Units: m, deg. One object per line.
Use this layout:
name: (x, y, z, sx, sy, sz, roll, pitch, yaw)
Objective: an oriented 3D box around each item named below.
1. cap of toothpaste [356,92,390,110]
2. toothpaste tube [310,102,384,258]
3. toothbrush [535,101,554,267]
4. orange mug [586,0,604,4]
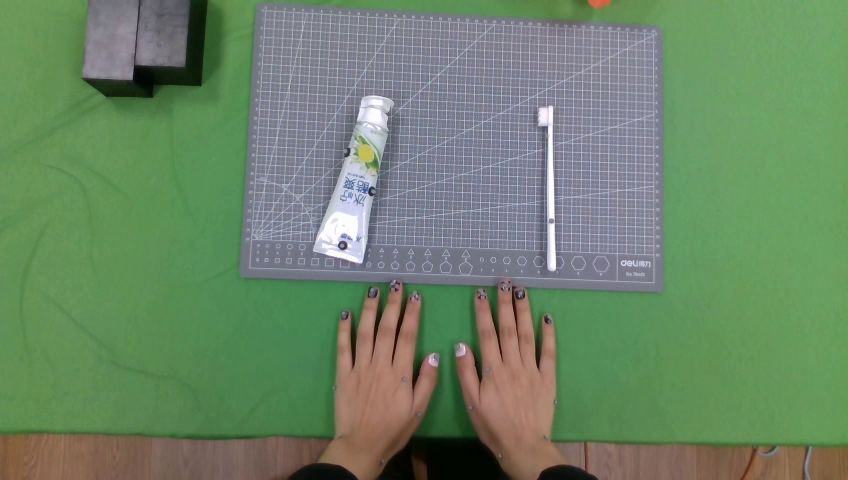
cap of toothpaste: (-0.054, -0.145, 0.638, 0.037, 0.037, 0.011, 3, 82, -3)
toothpaste tube: (-0.075, -0.067, 0.635, 0.055, 0.034, 0.165, 13, 88, 5)
toothbrush: (0.131, -0.062, 0.652, 0.016, 0.014, 0.181, -1, 84, 0)
orange mug: (0.172, -0.322, 0.641, 0.083, 0.101, 0.125, -19, 81, -5)
